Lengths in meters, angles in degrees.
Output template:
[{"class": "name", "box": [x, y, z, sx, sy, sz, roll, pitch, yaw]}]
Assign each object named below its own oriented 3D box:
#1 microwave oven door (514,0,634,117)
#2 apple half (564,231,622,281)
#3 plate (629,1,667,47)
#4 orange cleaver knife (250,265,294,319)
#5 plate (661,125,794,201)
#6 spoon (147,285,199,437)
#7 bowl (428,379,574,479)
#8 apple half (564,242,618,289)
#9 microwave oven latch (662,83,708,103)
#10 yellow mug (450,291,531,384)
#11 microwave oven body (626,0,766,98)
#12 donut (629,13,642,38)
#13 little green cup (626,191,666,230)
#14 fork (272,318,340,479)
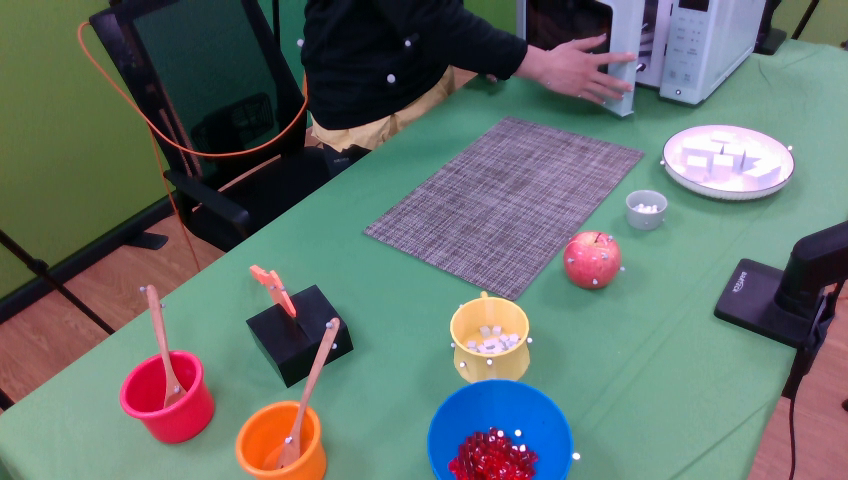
[{"class": "microwave oven door", "box": [0.301, -0.429, 1.236, 0.039, 0.245, 0.352, -25, 43, -19]}, {"class": "apple half", "box": [0.248, 0.021, 0.874, 0.080, 0.075, 0.053, 13, 40, 29]}, {"class": "plate", "box": [0.438, -0.483, 1.367, 0.209, 0.038, 0.208, -4, 42, 4]}, {"class": "orange cleaver knife", "box": [-0.222, 0.073, 0.876, 0.012, 0.077, 0.210, -24, 13, -22]}, {"class": "plate", "box": [0.513, -0.128, 1.035, 0.207, 0.039, 0.206, -4, 40, 4]}, {"class": "spoon", "box": [-0.318, 0.148, 0.754, 0.042, 0.021, 0.193, -14, 85, -11]}, {"class": "bowl", "box": [0.082, 0.233, 0.644, 0.151, 0.077, 0.150, -4, 39, 4]}, {"class": "apple half", "box": [0.229, 0.044, 0.848, 0.081, 0.081, 0.033, 16, 41, 26]}, {"class": "microwave oven latch", "box": [0.518, -0.297, 1.204, 0.078, 0.029, 0.030, 29, 53, 36]}, {"class": "yellow mug", "box": [0.085, 0.120, 0.786, 0.100, 0.064, 0.130, -7, 39, 1]}, {"class": "microwave oven body", "box": [0.472, -0.513, 1.317, 0.438, 0.261, 0.327, 26, 51, 34]}, {"class": "donut", "box": [0.435, -0.476, 1.347, 0.099, 0.048, 0.098, -11, 31, 7]}, {"class": "little green cup", "box": [0.352, -0.046, 0.963, 0.061, 0.039, 0.061, -4, 40, 4]}, {"class": "fork", "box": [-0.131, 0.186, 0.676, 0.028, 0.019, 0.207, 17, 90, 28]}]
